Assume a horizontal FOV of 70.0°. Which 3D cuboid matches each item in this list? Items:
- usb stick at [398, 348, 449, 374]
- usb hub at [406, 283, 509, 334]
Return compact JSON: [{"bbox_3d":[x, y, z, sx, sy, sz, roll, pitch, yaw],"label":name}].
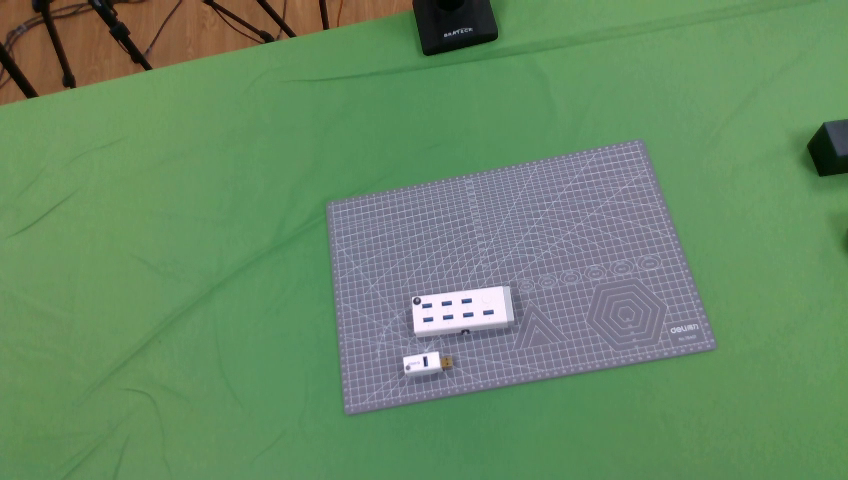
[{"bbox_3d":[0.000,0.146,0.735,0.059,0.027,0.021,-8,66,2],"label":"usb stick"},{"bbox_3d":[0.041,0.085,0.757,0.125,0.025,0.049,-7,65,4],"label":"usb hub"}]
